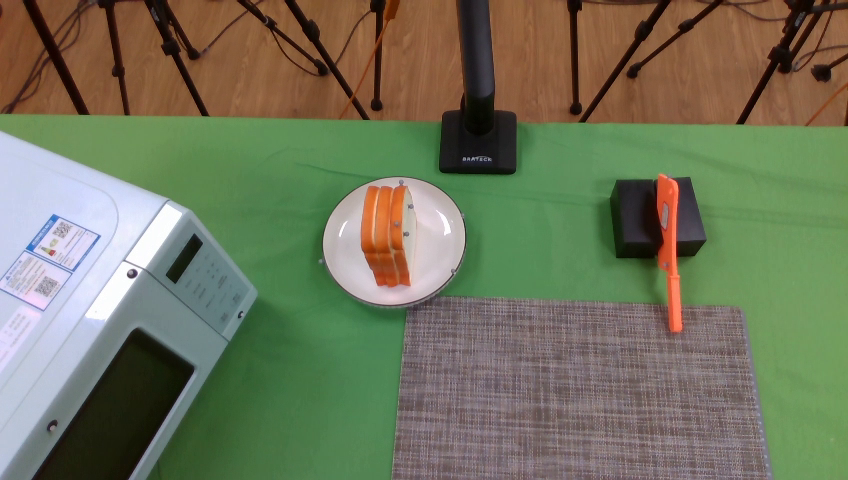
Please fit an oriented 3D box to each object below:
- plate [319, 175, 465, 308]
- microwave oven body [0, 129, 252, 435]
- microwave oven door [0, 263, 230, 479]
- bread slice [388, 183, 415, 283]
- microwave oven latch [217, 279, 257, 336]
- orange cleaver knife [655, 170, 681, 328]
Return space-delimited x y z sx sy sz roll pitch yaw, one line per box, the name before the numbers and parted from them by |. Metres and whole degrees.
plate | -0.044 0.004 0.871 0.207 0.039 0.206 -1 64 3
microwave oven body | -0.472 0.140 0.703 0.325 0.262 0.439 21 68 13
microwave oven door | -0.357 0.222 0.649 0.039 0.246 0.354 20 67 14
bread slice | -0.029 -0.012 0.815 0.018 0.135 0.106 -1 67 6
microwave oven latch | -0.257 0.088 0.823 0.030 0.030 0.079 21 68 13
orange cleaver knife | 0.325 0.011 0.813 0.012 0.077 0.211 -3 93 2
